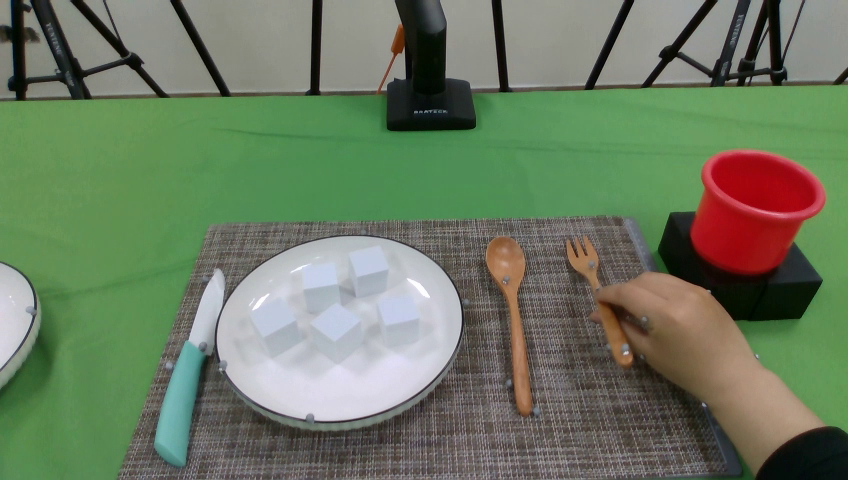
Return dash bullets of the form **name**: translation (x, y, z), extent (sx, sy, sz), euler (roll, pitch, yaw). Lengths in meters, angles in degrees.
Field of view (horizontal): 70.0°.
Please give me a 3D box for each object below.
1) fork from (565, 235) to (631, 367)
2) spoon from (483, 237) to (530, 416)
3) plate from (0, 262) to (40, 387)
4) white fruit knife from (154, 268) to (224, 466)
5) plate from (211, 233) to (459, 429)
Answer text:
- **fork**: translation (0.153, 0.046, 0.541), extent (0.028, 0.019, 0.206), euler (-13, 23, 9)
- **spoon**: translation (0.078, 0.069, 0.543), extent (0.042, 0.022, 0.192), euler (14, 40, -12)
- **plate**: translation (-0.432, 0.097, 0.506), extent (0.209, 0.038, 0.207), euler (0, 41, 0)
- **white fruit knife**: translation (-0.196, 0.096, 0.521), extent (0.027, 0.016, 0.205), euler (20, 35, -21)
- **plate**: translation (-0.074, 0.075, 0.525), extent (0.208, 0.039, 0.205), euler (0, 42, 0)
